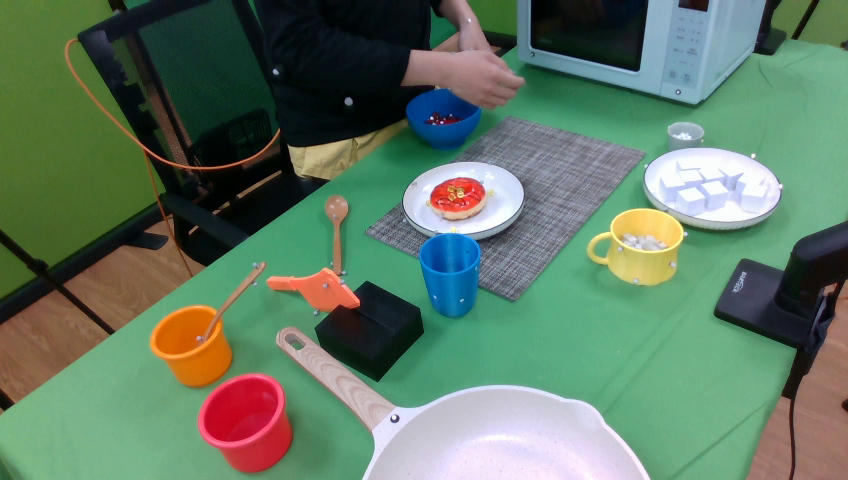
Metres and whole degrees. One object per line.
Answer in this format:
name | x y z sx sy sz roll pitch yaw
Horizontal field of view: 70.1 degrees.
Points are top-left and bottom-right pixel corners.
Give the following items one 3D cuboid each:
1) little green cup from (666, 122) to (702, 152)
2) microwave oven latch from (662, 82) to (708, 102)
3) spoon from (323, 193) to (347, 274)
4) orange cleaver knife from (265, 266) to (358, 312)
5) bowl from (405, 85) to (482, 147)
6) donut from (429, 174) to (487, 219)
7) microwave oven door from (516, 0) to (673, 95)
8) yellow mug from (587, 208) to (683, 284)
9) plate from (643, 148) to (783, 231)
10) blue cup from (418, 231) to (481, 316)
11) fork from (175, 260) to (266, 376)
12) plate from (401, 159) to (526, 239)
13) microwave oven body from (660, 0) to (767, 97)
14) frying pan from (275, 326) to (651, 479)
little green cup | 0.471 -0.184 1.102 0.061 0.039 0.061 -5 41 5
microwave oven latch | 0.517 -0.298 1.202 0.078 0.029 0.030 28 52 35
spoon | -0.148 -0.014 1.008 0.042 0.021 0.192 4 39 -13
orange cleaver knife | -0.164 0.073 0.864 0.210 0.077 0.012 -6 31 50
bowl | 0.041 -0.236 1.197 0.151 0.077 0.150 -4 41 4
donut | 0.057 -0.075 1.015 0.099 0.048 0.098 -6 38 5
microwave oven door | 0.344 -0.458 1.256 0.353 0.245 0.039 26 51 33
yellow mug | 0.305 0.009 0.884 0.131 0.064 0.099 -4 41 5
plate | 0.464 -0.080 0.986 0.207 0.039 0.206 -4 41 4
blue cup | 0.040 0.053 0.843 0.092 0.100 0.092 -4 43 4
fork | -0.268 0.103 0.792 0.207 0.019 0.028 -51 41 16
plate | 0.067 -0.065 1.019 0.209 0.038 0.208 -4 40 4
microwave oven body | 0.473 -0.516 1.313 0.438 0.261 0.327 26 51 34
frying pan | 0.004 0.229 0.641 0.484 0.103 0.308 34 54 28
